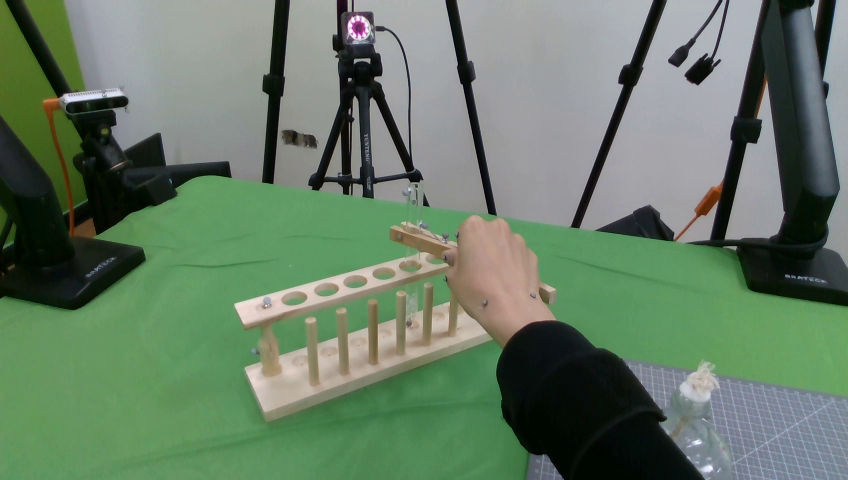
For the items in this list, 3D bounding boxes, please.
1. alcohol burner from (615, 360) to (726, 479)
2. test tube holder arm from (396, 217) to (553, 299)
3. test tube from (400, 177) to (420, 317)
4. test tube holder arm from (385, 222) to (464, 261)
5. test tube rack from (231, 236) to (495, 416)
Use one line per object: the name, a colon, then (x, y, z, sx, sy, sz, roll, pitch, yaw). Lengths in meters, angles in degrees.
alcohol burner: (0.183, 0.136, 0.442, 0.078, 0.120, 0.077, 2, 28, -1)
test tube holder arm: (0.038, 0.012, 0.537, 0.177, 0.015, 0.013, 23, 36, 37)
test tube: (-0.014, 0.011, 0.585, 0.017, 0.151, 0.017, 2, 28, -1)
test tube holder arm: (0.001, 0.001, 0.559, 0.087, 0.015, 0.010, 17, 32, 30)
test tube rack: (-0.048, 0.074, 0.577, 0.243, 0.086, 0.066, -15, 34, -26)
